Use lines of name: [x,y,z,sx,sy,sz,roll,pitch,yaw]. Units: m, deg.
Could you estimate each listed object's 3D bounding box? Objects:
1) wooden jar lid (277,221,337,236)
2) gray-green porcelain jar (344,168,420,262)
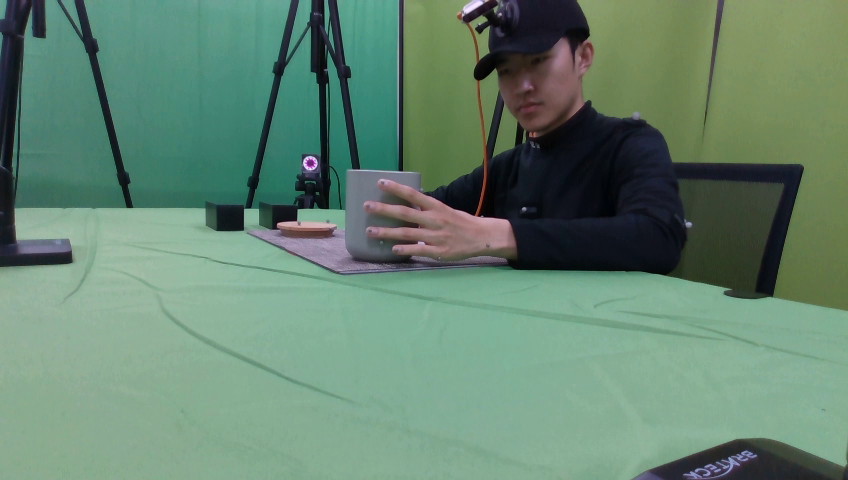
wooden jar lid: [-0.215,-0.021,1.111,0.108,0.020,0.108,3,7,0]
gray-green porcelain jar: [-0.059,-0.037,0.858,0.106,0.126,0.106,2,7,0]
